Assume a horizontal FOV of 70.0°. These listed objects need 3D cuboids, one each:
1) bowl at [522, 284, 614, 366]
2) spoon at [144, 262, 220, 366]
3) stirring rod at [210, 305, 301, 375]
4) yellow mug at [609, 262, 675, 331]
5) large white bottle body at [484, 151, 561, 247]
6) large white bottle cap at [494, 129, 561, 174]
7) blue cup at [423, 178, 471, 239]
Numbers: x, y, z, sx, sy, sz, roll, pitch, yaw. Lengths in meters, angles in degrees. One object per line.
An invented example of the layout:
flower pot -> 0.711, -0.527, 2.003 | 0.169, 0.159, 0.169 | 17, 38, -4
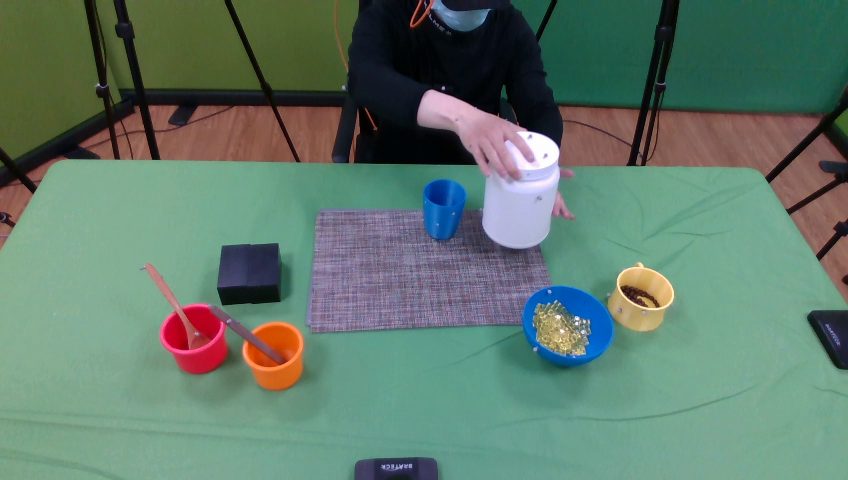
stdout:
bowl -> 0.235, 0.158, 1.022 | 0.151, 0.077, 0.150 | 2, 46, -2
spoon -> -0.389, 0.118, 0.971 | 0.041, 0.021, 0.194 | -34, 101, -33
stirring rod -> -0.262, 0.158, 0.946 | 0.177, 0.006, 0.014 | 43, 43, -21
yellow mug -> 0.393, 0.093, 1.103 | 0.100, 0.064, 0.130 | 7, 45, 3
large white bottle body -> 0.180, -0.093, 1.110 | 0.130, 0.185, 0.130 | 0, 44, 0
large white bottle cap -> 0.179, -0.154, 1.050 | 0.115, 0.018, 0.114 | 0, 44, 0
blue cup -> 0.036, -0.056, 1.193 | 0.093, 0.101, 0.092 | 3, 45, -3
